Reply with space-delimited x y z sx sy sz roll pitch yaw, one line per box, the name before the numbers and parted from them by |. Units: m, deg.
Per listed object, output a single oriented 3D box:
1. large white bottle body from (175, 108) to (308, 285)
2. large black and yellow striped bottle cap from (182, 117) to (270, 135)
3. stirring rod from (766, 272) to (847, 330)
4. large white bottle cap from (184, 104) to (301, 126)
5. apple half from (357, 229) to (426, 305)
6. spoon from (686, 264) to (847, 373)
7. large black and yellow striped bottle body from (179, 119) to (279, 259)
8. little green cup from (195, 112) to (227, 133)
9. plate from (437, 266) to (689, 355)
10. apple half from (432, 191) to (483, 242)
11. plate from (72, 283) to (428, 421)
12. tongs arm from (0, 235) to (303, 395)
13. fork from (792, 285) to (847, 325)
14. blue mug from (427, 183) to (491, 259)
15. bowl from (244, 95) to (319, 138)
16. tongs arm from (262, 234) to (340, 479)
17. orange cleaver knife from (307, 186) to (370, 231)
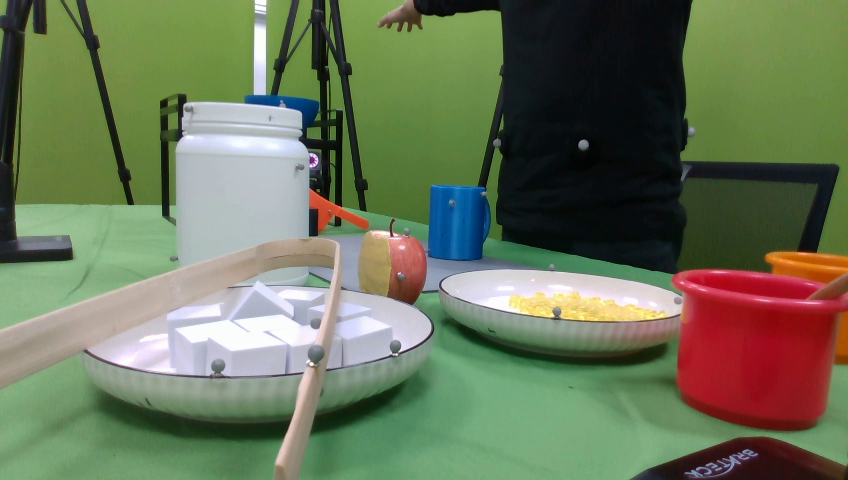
large white bottle body | -0.188 -0.042 0.630 0.131 0.184 0.130 2 8 0
large black and yellow striped bottle cap | -0.272 -0.156 0.833 0.115 0.019 0.115 1 7 0
stirring rod | 0.352 0.020 0.481 0.176 0.006 0.014 -40 -9 17
large white bottle cap | -0.184 -0.126 0.618 0.115 0.018 0.115 2 8 0
apple half | -0.026 0.028 0.570 0.053 0.074 0.080 3 2 -28
spoon | 0.214 0.032 0.328 0.042 0.021 0.193 -3 -35 -26
large black and yellow striped bottle body | -0.271 -0.074 0.846 0.131 0.184 0.130 0 9 0
little green cup | -0.412 -0.227 1.171 0.061 0.038 0.061 3 8 0
plate | 0.114 0.057 0.517 0.209 0.038 0.209 3 7 0
apple half | 0.049 -0.037 0.904 0.081 0.081 0.033 3 14 3
plate | -0.102 0.066 0.381 0.208 0.039 0.207 2 7 0
tongs arm | -0.157 0.038 0.351 0.028 0.028 0.388 -3 9 12
fork | 0.332 0.019 0.443 0.028 0.018 0.207 -3 -35 -16
blue mug | 0.060 -0.031 0.905 0.117 0.106 0.082 -4 10 -42
bowl | -0.293 -0.251 1.249 0.151 0.077 0.151 2 8 0
tongs arm | -0.074 0.039 0.349 0.051 0.026 0.384 -2 10 -3
orange cleaver knife | -0.197 -0.056 1.141 0.212 0.077 0.012 29 1 -34
